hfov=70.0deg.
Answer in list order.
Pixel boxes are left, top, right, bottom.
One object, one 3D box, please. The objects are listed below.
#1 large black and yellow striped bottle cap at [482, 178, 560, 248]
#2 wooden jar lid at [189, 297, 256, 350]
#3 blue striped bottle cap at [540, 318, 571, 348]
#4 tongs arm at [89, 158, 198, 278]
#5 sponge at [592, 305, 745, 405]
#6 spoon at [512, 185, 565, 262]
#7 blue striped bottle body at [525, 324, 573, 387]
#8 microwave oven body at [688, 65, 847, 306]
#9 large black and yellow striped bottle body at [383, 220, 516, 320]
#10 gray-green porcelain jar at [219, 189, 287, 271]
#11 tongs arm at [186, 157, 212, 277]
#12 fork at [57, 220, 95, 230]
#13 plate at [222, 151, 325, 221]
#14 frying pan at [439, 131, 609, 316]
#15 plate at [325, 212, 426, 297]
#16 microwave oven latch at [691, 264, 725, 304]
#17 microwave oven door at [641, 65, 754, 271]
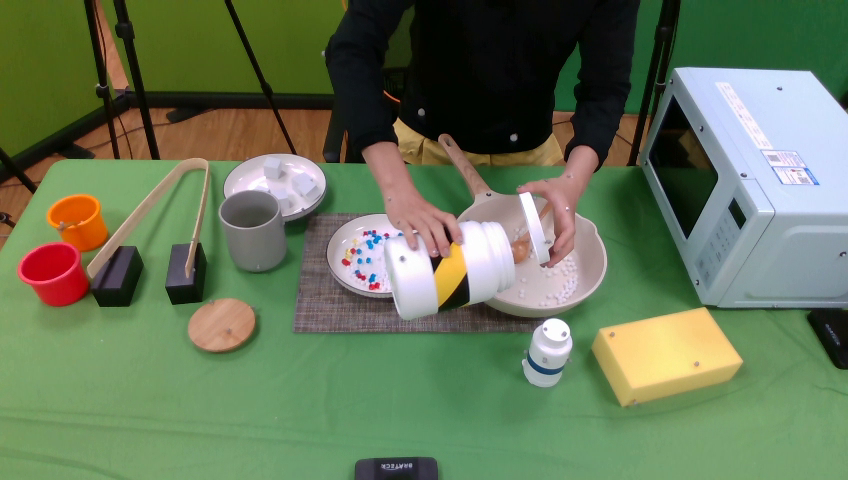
[{"bbox_3d":[0.143,-0.041,0.898,0.115,0.019,0.114,-2,59,4],"label":"large black and yellow striped bottle cap"},{"bbox_3d":[-0.342,0.145,1.033,0.108,0.021,0.107,3,45,-2],"label":"wooden jar lid"},{"bbox_3d":[0.203,0.142,0.933,0.044,0.021,0.044,3,49,-4],"label":"blue striped bottle cap"},{"bbox_3d":[-0.529,-0.058,1.164,0.028,0.028,0.385,1,36,8],"label":"tongs arm"},{"bbox_3d":[0.405,0.189,1.015,0.207,0.061,0.117,-10,48,-12],"label":"sponge"},{"bbox_3d":[0.224,-0.034,1.188,0.041,0.022,0.193,31,79,26],"label":"spoon"},{"bbox_3d":[0.201,0.178,0.970,0.063,0.121,0.062,1,46,-1],"label":"blue striped bottle body"},{"bbox_3d":[0.669,-0.111,1.176,0.326,0.261,0.439,0,46,-3],"label":"microwave oven body"},{"bbox_3d":[0.039,0.042,0.943,0.184,0.131,0.130,-13,49,-9],"label":"large black and yellow striped bottle body"},{"bbox_3d":[-0.310,-0.014,1.113,0.106,0.127,0.105,2,46,-2],"label":"gray-green porcelain jar"},{"bbox_3d":[-0.445,-0.058,1.168,0.051,0.026,0.382,-5,37,-6],"label":"tongs arm"},{"bbox_3d":[-0.624,-0.027,1.086,0.028,0.207,0.018,-3,92,-17],"label":"fork"},{"bbox_3d":[-0.310,-0.106,1.262,0.208,0.039,0.206,2,47,-2],"label":"plate"},{"bbox_3d":[0.149,-0.049,1.190,0.307,0.103,0.484,-17,58,-20],"label":"frying pan"},{"bbox_3d":[-0.081,0.030,1.143,0.209,0.038,0.208,3,46,-3],"label":"plate"},{"bbox_3d":[0.521,0.081,1.116,0.030,0.029,0.078,0,46,-3],"label":"microwave oven latch"},{"bbox_3d":[0.524,-0.148,1.193,0.039,0.245,0.353,0,47,-3],"label":"microwave oven door"}]
